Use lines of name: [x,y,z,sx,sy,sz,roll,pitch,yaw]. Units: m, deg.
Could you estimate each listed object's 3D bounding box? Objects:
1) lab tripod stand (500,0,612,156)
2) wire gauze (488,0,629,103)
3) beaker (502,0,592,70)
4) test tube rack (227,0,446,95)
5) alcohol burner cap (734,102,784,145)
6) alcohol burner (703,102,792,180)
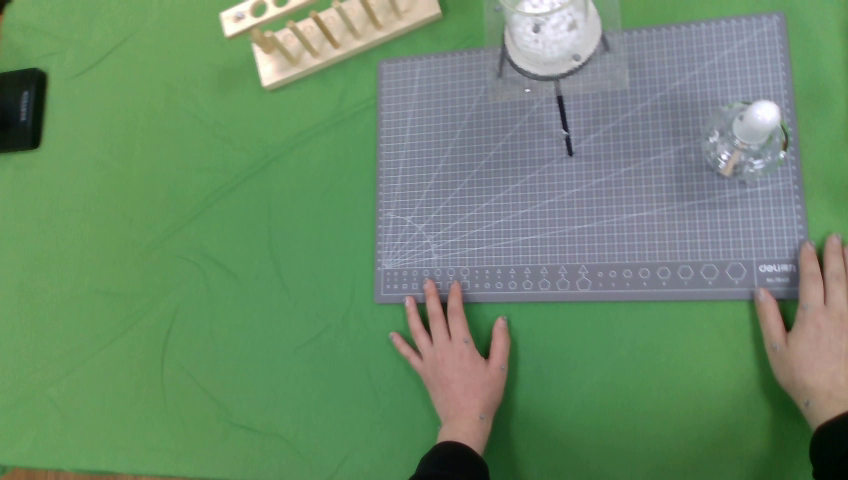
lab tripod stand: [0.138,-0.174,0.619,0.148,0.132,0.148,-2,80,14]
wire gauze: [0.121,-0.187,0.557,0.125,0.011,0.121,-2,83,12]
beaker: [0.103,-0.196,0.512,0.083,0.101,0.074,11,84,17]
test tube rack: [-0.104,-0.265,0.730,0.242,0.086,0.066,-19,75,11]
alcohol burner cap: [0.298,-0.105,0.535,0.034,0.048,0.034,-1,83,12]
alcohol burner: [0.307,-0.098,0.569,0.078,0.120,0.077,-2,79,14]
